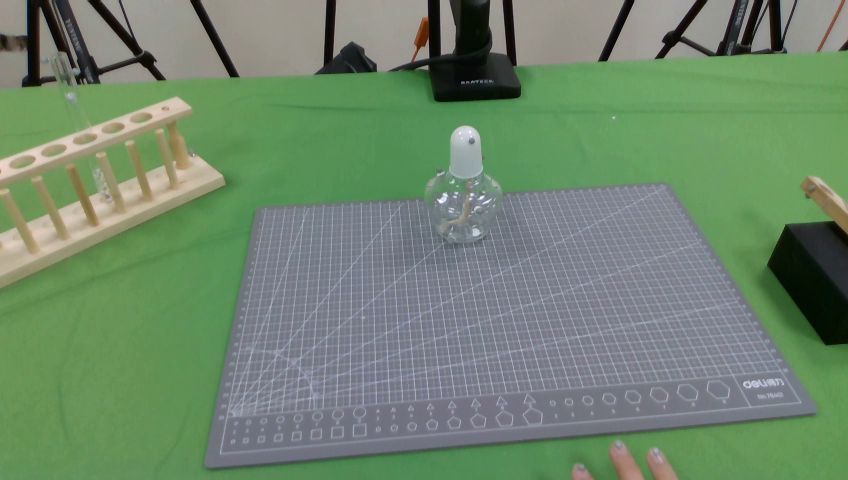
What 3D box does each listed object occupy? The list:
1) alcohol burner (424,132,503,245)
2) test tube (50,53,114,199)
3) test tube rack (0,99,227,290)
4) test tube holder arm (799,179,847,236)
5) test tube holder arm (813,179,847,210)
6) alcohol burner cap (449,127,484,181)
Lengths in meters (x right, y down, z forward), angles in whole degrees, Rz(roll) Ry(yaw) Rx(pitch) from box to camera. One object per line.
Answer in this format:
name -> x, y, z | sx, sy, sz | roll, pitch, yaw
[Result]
alcohol burner -> 0.039, -0.054, 0.579 | 0.078, 0.120, 0.077 | 1, 42, 0
test tube -> -0.331, -0.107, 0.593 | 0.017, 0.151, 0.017 | -1, 35, 1
test tube rack -> -0.331, -0.052, 0.606 | 0.242, 0.086, 0.066 | -32, 50, -31
test tube holder arm -> 0.370, -0.025, 0.545 | 0.010, 0.015, 0.087 | -1, 41, -12
test tube holder arm -> 0.383, 0.004, 0.513 | 0.013, 0.015, 0.176 | -1, 41, -12
alcohol burner cap -> 0.039, -0.082, 0.556 | 0.034, 0.048, 0.033 | -1, 45, 2
